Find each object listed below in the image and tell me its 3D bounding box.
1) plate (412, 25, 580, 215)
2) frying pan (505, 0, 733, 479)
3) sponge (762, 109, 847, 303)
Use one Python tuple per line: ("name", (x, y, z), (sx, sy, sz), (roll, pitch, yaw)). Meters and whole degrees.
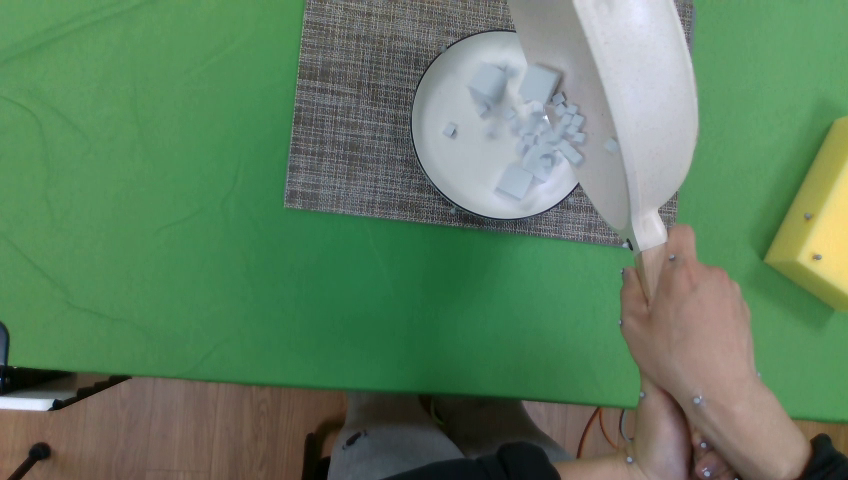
("plate", (0.088, -0.129, 0.668), (0.208, 0.039, 0.207), (0, 88, -8))
("frying pan", (0.156, -0.054, 0.479), (0.102, 0.308, 0.486), (-15, 82, 11))
("sponge", (0.512, -0.042, 0.720), (0.118, 0.061, 0.206), (30, 85, -6))
